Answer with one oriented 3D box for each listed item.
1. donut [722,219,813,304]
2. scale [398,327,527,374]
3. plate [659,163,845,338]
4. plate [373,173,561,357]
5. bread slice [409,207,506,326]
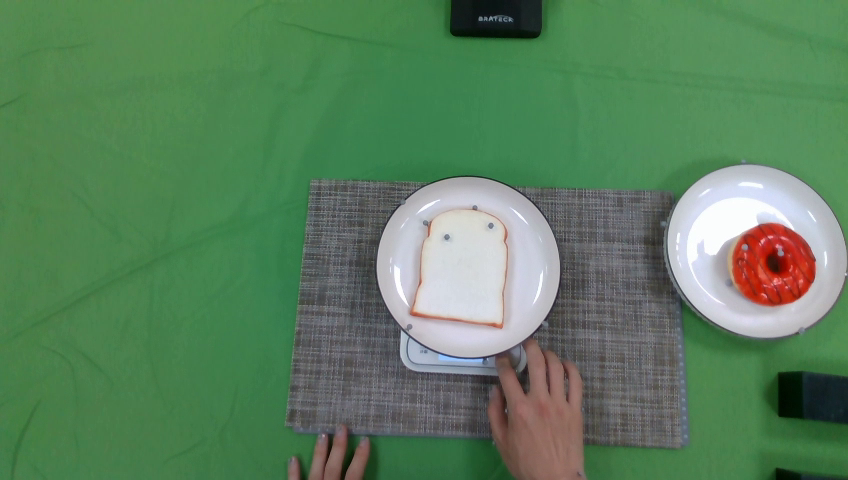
[{"bbox_3d":[0.395,0.026,0.698,0.099,0.048,0.098,0,81,0],"label":"donut"},{"bbox_3d":[0.048,0.053,0.713,0.148,0.032,0.200,3,78,2],"label":"scale"},{"bbox_3d":[0.379,0.013,0.714,0.207,0.039,0.206,0,77,1],"label":"plate"},{"bbox_3d":[0.048,0.027,0.685,0.209,0.038,0.208,0,78,1],"label":"plate"},{"bbox_3d":[0.042,0.026,0.688,0.105,0.019,0.131,7,78,1],"label":"bread slice"}]
